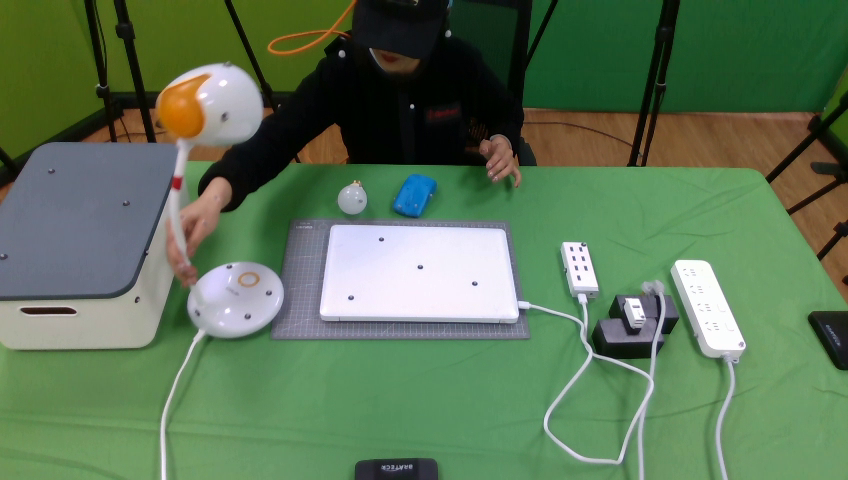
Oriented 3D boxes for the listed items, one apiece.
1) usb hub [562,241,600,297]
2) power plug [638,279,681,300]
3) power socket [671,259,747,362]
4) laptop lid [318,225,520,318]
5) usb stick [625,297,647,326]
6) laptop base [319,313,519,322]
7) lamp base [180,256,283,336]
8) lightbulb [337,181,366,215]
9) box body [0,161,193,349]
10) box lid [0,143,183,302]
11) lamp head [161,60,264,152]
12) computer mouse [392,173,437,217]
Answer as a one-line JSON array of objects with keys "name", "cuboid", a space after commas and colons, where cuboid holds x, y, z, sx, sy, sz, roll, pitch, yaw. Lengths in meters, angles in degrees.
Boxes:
[{"name": "usb hub", "cuboid": [0.300, 0.055, 1.161, 0.049, 0.025, 0.124, 2, 46, -3]}, {"name": "power plug", "cuboid": [0.434, 0.099, 1.119, 0.073, 0.053, 0.035, 34, 38, -15]}, {"name": "power socket", "cuboid": [0.517, 0.119, 1.108, 0.072, 0.033, 0.225, 1, 46, -2]}, {"name": "laptop lid", "cuboid": [-0.009, 0.052, 1.130, 0.357, 0.013, 0.240, 2, 43, -2]}, {"name": "usb stick", "cuboid": [0.360, 0.117, 1.034, 0.021, 0.027, 0.059, -2, 44, -2]}, {"name": "laptop base", "cuboid": [-0.009, 0.063, 1.137, 0.354, 0.023, 0.234, 1, 42, -3]}, {"name": "lamp base", "cuboid": [-0.329, 0.055, 0.991, 0.160, 0.181, 0.178, 19, 53, 14]}, {"name": "lightbulb", "cuboid": [-0.146, -0.094, 1.261, 0.059, 0.060, 0.107, 4, 30, 0]}, {"name": "box body", "cuboid": [-0.570, 0.006, 1.054, 0.254, 0.161, 0.361, -1, 46, -4]}, {"name": "box lid", "cuboid": [-0.567, -0.045, 0.999, 0.263, 0.015, 0.369, -1, 46, -4]}, {"name": "lamp head", "cuboid": [-0.289, -0.176, 0.801, 0.112, 0.113, 0.122, 13, 25, 9]}, {"name": "computer mouse", "cuboid": [-0.018, -0.098, 1.282, 0.062, 0.041, 0.117, 20, 51, 13]}]
